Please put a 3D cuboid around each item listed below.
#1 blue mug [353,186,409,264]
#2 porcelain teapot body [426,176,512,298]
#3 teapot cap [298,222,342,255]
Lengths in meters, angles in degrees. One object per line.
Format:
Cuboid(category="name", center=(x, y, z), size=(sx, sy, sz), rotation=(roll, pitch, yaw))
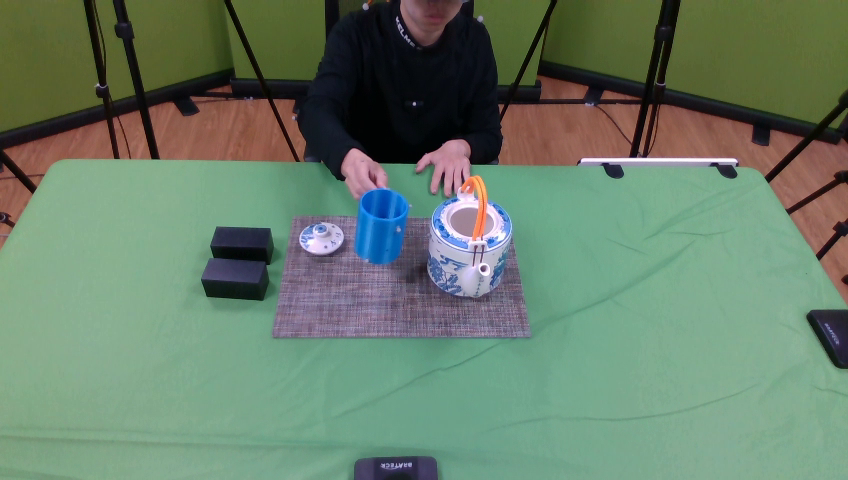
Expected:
Cuboid(category="blue mug", center=(-0.075, -0.035, 1.038), size=(0.082, 0.106, 0.116), rotation=(4, 44, -11))
Cuboid(category="porcelain teapot body", center=(0.085, 0.009, 1.051), size=(0.145, 0.226, 0.204), rotation=(-5, 47, -8))
Cuboid(category="teapot cap", center=(-0.201, -0.008, 1.171), size=(0.085, 0.044, 0.084), rotation=(1, 47, -1))
